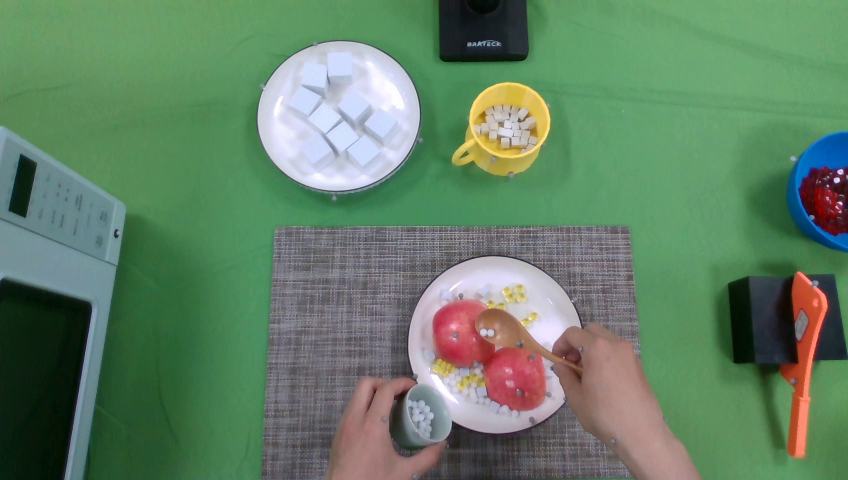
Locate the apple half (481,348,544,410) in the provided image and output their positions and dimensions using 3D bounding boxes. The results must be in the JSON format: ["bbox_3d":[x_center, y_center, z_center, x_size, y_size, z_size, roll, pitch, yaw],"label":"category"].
[{"bbox_3d":[0.104,0.159,0.703,0.081,0.033,0.081,0,73,1],"label":"apple half"}]

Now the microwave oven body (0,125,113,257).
[{"bbox_3d":[-0.540,0.125,0.593,0.326,0.261,0.439,3,78,-1],"label":"microwave oven body"}]

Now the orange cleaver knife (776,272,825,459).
[{"bbox_3d":[0.426,0.144,0.698,0.012,0.077,0.212,1,101,4],"label":"orange cleaver knife"}]

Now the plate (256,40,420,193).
[{"bbox_3d":[-0.108,-0.157,0.781,0.208,0.039,0.206,0,77,-1],"label":"plate"}]

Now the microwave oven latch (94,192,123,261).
[{"bbox_3d":[-0.383,-0.017,0.726,0.030,0.029,0.079,5,78,0],"label":"microwave oven latch"}]

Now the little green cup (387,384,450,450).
[{"bbox_3d":[-0.007,0.186,0.627,0.062,0.039,0.061,24,39,-21],"label":"little green cup"}]

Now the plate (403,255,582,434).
[{"bbox_3d":[0.079,0.121,0.717,0.209,0.038,0.208,0,78,-1],"label":"plate"}]

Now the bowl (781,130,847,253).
[{"bbox_3d":[0.504,-0.050,0.745,0.151,0.077,0.150,0,77,0],"label":"bowl"}]

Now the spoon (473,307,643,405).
[{"bbox_3d":[0.132,0.121,0.624,0.192,0.022,0.041,26,99,35],"label":"spoon"}]

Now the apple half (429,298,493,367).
[{"bbox_3d":[0.043,0.106,0.704,0.074,0.053,0.080,-2,77,1],"label":"apple half"}]

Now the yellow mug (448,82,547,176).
[{"bbox_3d":[0.087,-0.131,0.764,0.131,0.064,0.099,-31,79,-7],"label":"yellow mug"}]

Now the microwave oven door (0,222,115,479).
[{"bbox_3d":[-0.397,0.173,0.579,0.039,0.245,0.354,3,77,0],"label":"microwave oven door"}]
